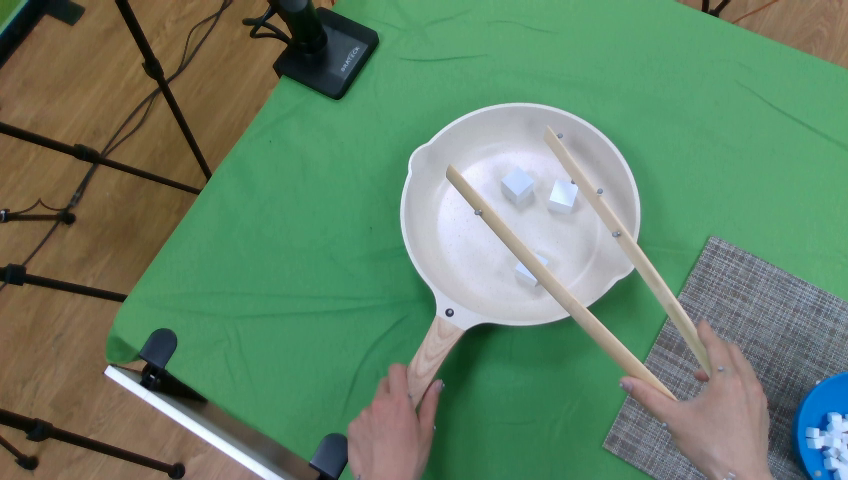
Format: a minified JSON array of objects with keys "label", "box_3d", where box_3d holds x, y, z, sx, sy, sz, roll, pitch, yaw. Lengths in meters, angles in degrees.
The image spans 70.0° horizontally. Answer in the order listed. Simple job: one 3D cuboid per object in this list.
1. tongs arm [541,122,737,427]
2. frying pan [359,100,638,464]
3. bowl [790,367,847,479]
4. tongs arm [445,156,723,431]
[{"label":"tongs arm","box_3d":[0.210,0.016,0.653,0.051,0.027,0.381,-18,60,-20]},{"label":"frying pan","box_3d":[0.061,0.047,0.734,0.305,0.103,0.486,29,69,14]},{"label":"bowl","box_3d":[0.463,0.214,0.652,0.151,0.077,0.150,-1,73,5]},{"label":"tongs arm","box_3d":[0.144,0.042,0.627,0.028,0.028,0.384,-27,63,-29]}]
